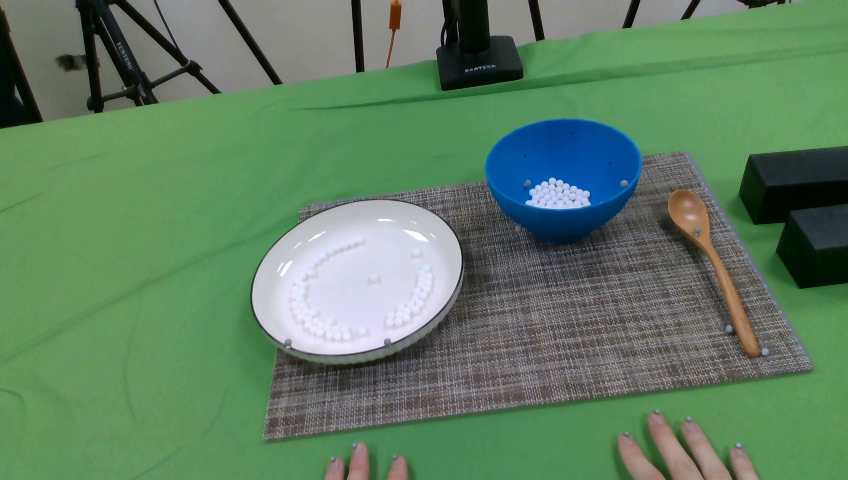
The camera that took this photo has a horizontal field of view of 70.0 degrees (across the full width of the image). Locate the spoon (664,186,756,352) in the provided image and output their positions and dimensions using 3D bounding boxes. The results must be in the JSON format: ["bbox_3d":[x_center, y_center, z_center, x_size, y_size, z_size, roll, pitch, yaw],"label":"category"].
[{"bbox_3d":[0.263,0.019,0.556,0.042,0.022,0.191,6,43,-8],"label":"spoon"}]

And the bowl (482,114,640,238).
[{"bbox_3d":[0.137,-0.055,0.617,0.151,0.077,0.150,-6,44,6],"label":"bowl"}]

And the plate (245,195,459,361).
[{"bbox_3d":[-0.068,0.037,0.595,0.207,0.039,0.205,-6,44,6],"label":"plate"}]
